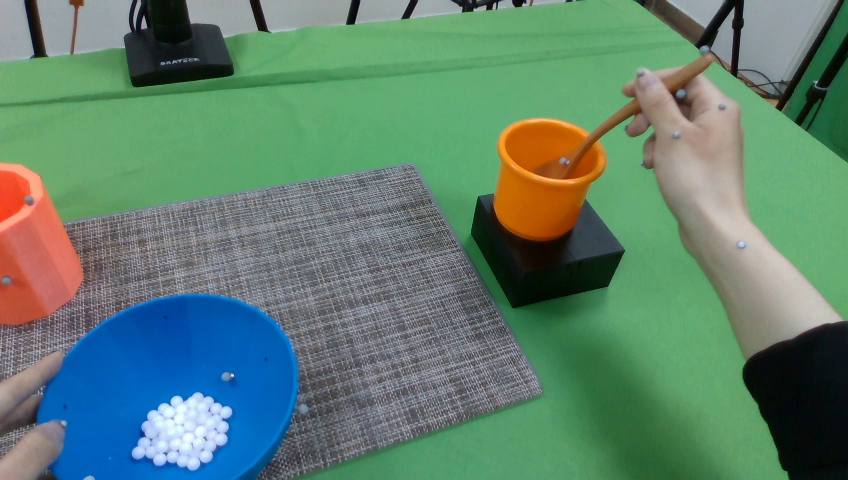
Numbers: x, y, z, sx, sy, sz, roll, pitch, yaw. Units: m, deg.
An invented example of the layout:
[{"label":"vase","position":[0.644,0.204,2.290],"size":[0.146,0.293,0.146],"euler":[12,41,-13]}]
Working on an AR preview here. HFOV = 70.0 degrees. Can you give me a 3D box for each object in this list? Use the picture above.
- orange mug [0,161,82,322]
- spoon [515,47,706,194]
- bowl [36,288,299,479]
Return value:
[{"label":"orange mug","position":[-0.338,-0.011,0.481],"size":[0.083,0.101,0.125],"euler":[-19,56,-23]},{"label":"spoon","position":[0.142,-0.091,0.492],"size":[0.022,0.194,0.041],"euler":[31,50,-15]},{"label":"bowl","position":[-0.156,0.114,0.399],"size":[0.151,0.077,0.150],"euler":[4,46,-4]}]
